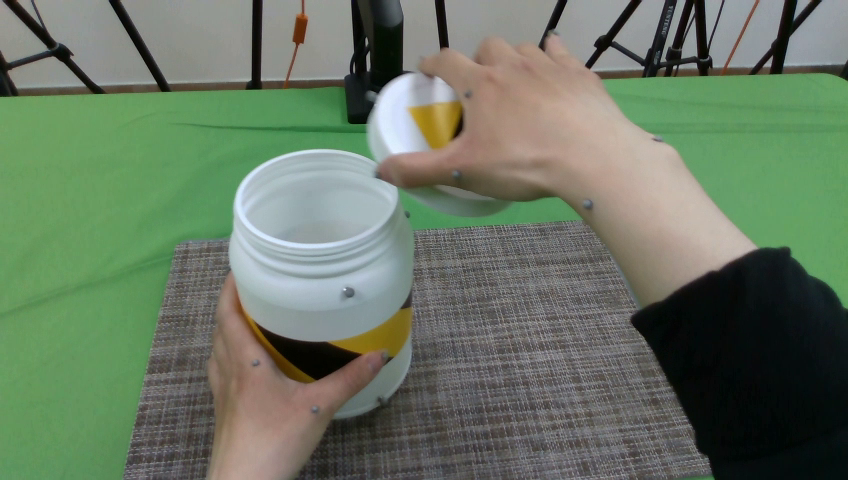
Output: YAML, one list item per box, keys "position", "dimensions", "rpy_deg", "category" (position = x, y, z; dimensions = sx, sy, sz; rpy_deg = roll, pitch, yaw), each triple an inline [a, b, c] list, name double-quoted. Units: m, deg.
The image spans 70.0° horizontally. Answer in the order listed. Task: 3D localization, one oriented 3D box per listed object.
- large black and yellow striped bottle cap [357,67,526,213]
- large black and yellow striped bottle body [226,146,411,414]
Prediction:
- position: [0.013, -0.069, 0.400]
  dimensions: [0.115, 0.019, 0.114]
  rpy_deg: [13, 52, -16]
  category: "large black and yellow striped bottle cap"
- position: [-0.076, 0.033, 0.466]
  dimensions: [0.131, 0.185, 0.129]
  rpy_deg: [2, 43, -1]
  category: "large black and yellow striped bottle body"
